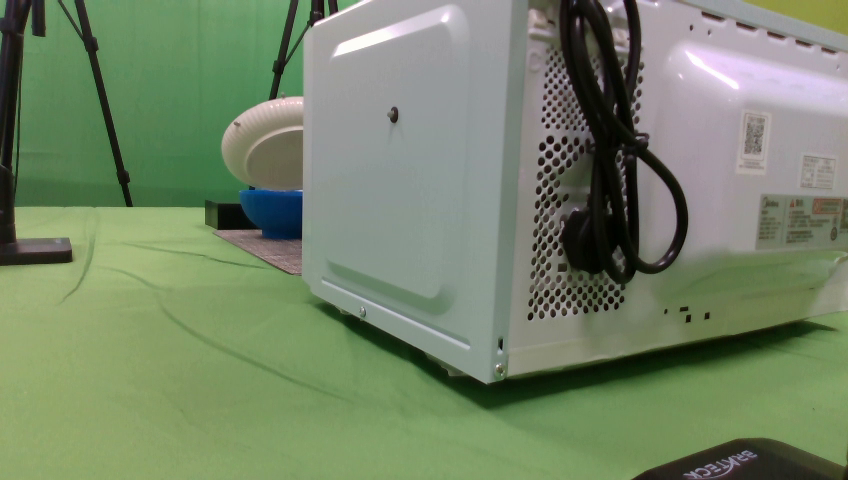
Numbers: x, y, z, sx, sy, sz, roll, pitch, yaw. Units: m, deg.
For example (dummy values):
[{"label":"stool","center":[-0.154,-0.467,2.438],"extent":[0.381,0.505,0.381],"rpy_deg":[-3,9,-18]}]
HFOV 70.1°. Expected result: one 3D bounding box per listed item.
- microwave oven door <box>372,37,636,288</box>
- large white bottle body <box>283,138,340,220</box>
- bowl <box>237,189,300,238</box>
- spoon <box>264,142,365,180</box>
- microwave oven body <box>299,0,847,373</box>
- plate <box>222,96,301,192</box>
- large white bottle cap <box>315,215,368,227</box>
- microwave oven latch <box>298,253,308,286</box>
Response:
[{"label":"microwave oven door","center":[0.110,-0.080,0.686],"extent":[0.358,0.243,0.039],"rpy_deg":[-2,9,-33]},{"label":"large white bottle body","center":[-0.265,-0.144,1.424],"extent":[0.131,0.184,0.130],"rpy_deg":[2,7,0]},{"label":"bowl","center":[-0.245,-0.046,1.053],"extent":[0.151,0.077,0.151],"rpy_deg":[3,7,0]},{"label":"spoon","center":[-0.182,-0.140,1.028],"extent":[0.194,0.041,0.021],"rpy_deg":[-20,-3,-29]},{"label":"microwave oven body","center":[0.152,-0.055,0.542],"extent":[0.444,0.260,0.324],"rpy_deg":[-2,7,-33]},{"label":"plate","center":[-0.203,-0.136,0.939],"extent":[0.209,0.038,0.209],"rpy_deg":[-16,-27,-8]},{"label":"large white bottle cap","center":[-0.177,-0.041,1.309],"extent":[0.115,0.018,0.115],"rpy_deg":[2,6,0]},{"label":"microwave oven latch","center":[-0.081,0.027,0.582],"extent":[0.079,0.029,0.030],"rpy_deg":[-1,7,-32]}]
